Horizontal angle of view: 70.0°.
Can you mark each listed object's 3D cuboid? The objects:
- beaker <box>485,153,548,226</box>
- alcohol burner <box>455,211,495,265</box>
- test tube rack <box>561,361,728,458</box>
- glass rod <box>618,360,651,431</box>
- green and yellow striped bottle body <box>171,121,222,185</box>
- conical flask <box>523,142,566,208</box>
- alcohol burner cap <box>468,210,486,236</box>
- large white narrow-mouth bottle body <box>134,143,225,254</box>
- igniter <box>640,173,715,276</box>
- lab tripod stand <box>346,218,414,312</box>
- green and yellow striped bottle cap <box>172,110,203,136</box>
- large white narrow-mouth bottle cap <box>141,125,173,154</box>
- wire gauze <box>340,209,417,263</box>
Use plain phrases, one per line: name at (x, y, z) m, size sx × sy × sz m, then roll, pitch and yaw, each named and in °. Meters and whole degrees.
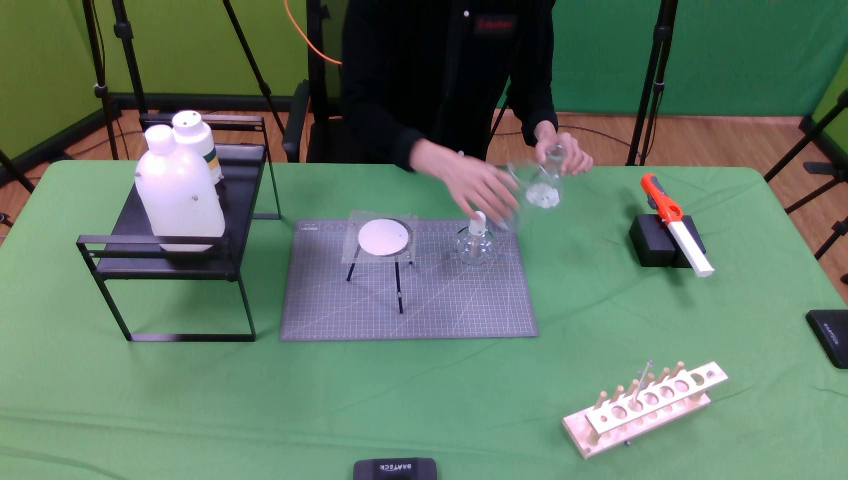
beaker at (0.149, -0.079, 0.982) m, size 0.084 × 0.100 × 0.073 m, roll -16°, pitch 54°, yaw -38°
alcohol burner at (0.097, -0.010, 1.147) m, size 0.078 × 0.120 × 0.077 m, roll 1°, pitch 47°, yaw -1°
test tube rack at (0.341, 0.248, 0.940) m, size 0.243 × 0.085 × 0.066 m, roll -15°, pitch 48°, yaw -18°
glass rod at (0.298, 0.227, 0.865) m, size 0.008 × 0.201 × 0.008 m, roll -1°, pitch 47°, yaw 2°
green and yellow striped bottle body at (-0.375, -0.149, 0.995) m, size 0.063 × 0.120 × 0.063 m, roll 2°, pitch 46°, yaw -2°
conical flask at (0.229, -0.123, 1.117) m, size 0.075 × 0.122 × 0.075 m, roll 2°, pitch 51°, yaw -2°
alcohol burner cap at (0.099, -0.034, 1.119) m, size 0.034 × 0.048 × 0.033 m, roll 0°, pitch 53°, yaw 0°
large white narrow-mouth bottle body at (-0.358, -0.075, 0.875) m, size 0.102 × 0.195 × 0.101 m, roll 1°, pitch 47°, yaw -1°
igniter at (0.495, -0.039, 1.204) m, size 0.057 × 0.025 × 0.274 m, roll -2°, pitch 47°, yaw -13°
lab tripod stand at (-0.069, 0.037, 1.075) m, size 0.148 × 0.132 × 0.147 m, roll 1°, pitch 48°, yaw -1°
green and yellow striped bottle cap at (-0.374, -0.185, 0.958) m, size 0.045 × 0.020 × 0.045 m, roll 4°, pitch 46°, yaw -4°
large white narrow-mouth bottle cap at (-0.357, -0.135, 0.810) m, size 0.038 × 0.024 × 0.037 m, roll 1°, pitch 47°, yaw -1°
wire gauze at (-0.074, -0.006, 1.023) m, size 0.121 × 0.011 × 0.124 m, roll 3°, pitch 46°, yaw 0°
